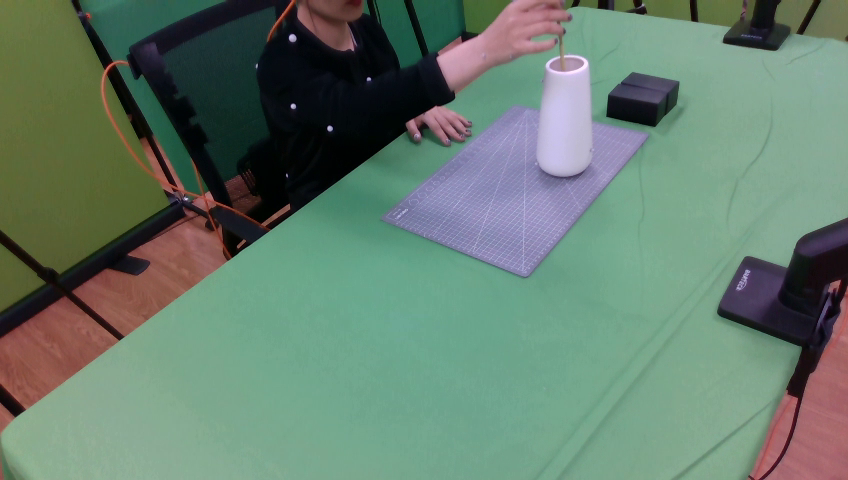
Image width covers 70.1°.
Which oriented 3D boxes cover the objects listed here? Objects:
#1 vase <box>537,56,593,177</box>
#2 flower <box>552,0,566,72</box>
[{"bbox_3d":[0.245,-0.209,1.040,0.098,0.201,0.097,-4,40,4],"label":"vase"},{"bbox_3d":[0.206,-0.331,0.934,0.038,0.364,0.044,-12,44,12],"label":"flower"}]
